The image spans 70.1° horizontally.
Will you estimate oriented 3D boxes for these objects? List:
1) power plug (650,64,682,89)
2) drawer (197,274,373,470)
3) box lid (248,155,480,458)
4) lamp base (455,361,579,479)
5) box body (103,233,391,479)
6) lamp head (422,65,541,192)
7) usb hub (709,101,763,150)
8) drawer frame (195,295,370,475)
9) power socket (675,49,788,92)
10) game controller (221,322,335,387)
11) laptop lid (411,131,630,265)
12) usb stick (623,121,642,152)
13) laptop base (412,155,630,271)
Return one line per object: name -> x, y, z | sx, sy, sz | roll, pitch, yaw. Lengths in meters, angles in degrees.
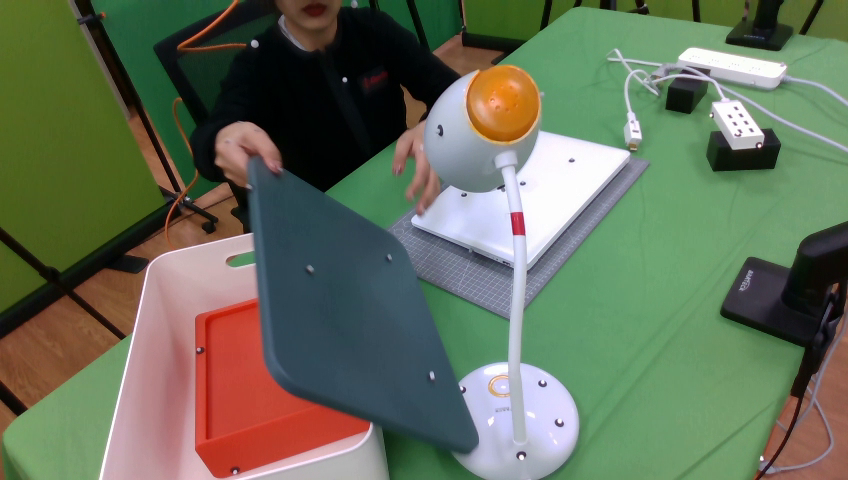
power plug -> 0.498, -0.341, 1.263 | 0.035, 0.052, 0.072 | 20, 10, -7
drawer -> -0.182, 0.159, 0.774 | 0.195, 0.073, 0.210 | -16, 41, -7
box lid -> -0.076, 0.057, 0.673 | 0.015, 0.266, 0.368 | -44, 38, 17
lamp base -> 0.094, 0.158, 0.657 | 0.161, 0.181, 0.178 | -14, 42, -5
box body -> -0.190, 0.161, 0.723 | 0.255, 0.161, 0.361 | -13, 40, -5
lamp head -> 0.060, -0.106, 0.560 | 0.113, 0.112, 0.122 | -17, 0, -8
usb hub -> 0.534, -0.199, 1.040 | 0.049, 0.025, 0.124 | -5, 39, 8
drawer frame -> -0.180, 0.160, 0.774 | 0.202, 0.083, 0.212 | -16, 41, -9
power socket -> 0.647, -0.363, 1.284 | 0.225, 0.033, 0.072 | 26, 53, 35
game controller -> -0.196, 0.146, 0.813 | 0.155, 0.051, 0.096 | -17, 11, -11
laptop lid -> 0.172, -0.094, 1.050 | 0.239, 0.013, 0.358 | 23, 49, 36
usb stick -> 0.389, -0.191, 1.128 | 0.021, 0.027, 0.059 | 9, 61, -10
laptop base -> 0.176, -0.084, 1.056 | 0.233, 0.023, 0.355 | 20, 48, 36
